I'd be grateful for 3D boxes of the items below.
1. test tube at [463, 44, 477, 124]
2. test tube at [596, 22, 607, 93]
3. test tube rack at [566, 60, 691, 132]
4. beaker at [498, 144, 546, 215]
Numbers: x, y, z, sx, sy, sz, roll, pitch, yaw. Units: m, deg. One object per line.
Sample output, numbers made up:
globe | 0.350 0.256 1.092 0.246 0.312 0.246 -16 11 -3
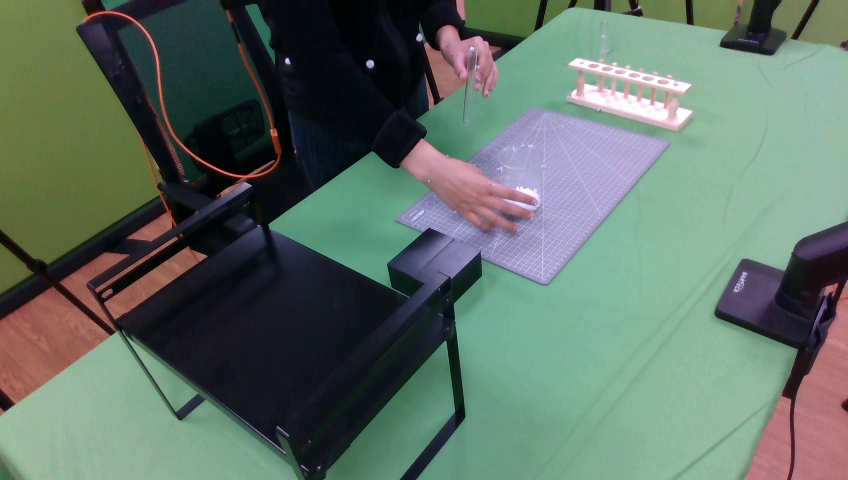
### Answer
test tube | 0.081 -0.273 1.070 0.017 0.150 0.017 1 42 -1
test tube | 0.363 -0.372 1.240 0.017 0.151 0.017 -6 40 5
test tube rack | 0.411 -0.300 1.217 0.240 0.085 0.067 26 51 33
beaker | 0.161 -0.099 1.004 0.074 0.101 0.083 -12 40 -6
